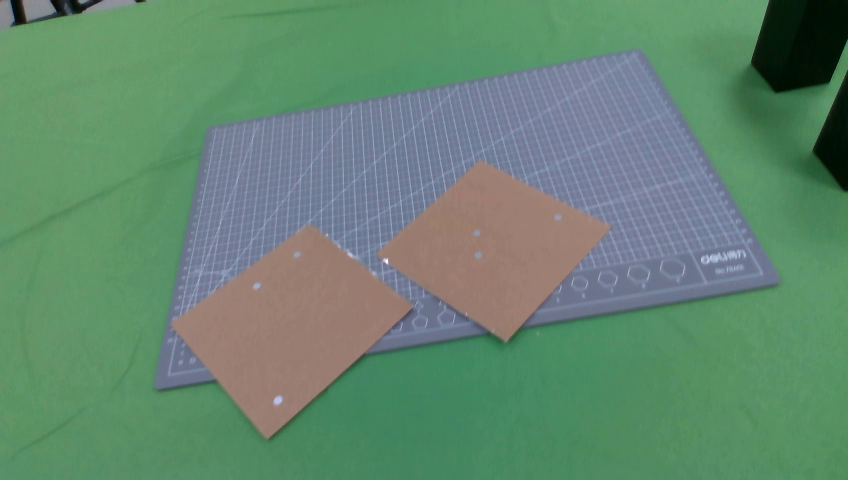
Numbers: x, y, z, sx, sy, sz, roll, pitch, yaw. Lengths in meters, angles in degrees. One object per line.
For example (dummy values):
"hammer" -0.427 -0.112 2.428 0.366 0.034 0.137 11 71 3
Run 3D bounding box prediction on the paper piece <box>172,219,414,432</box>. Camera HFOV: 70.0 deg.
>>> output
"paper piece" -0.101 0.053 0.458 0.138 0.009 0.134 -40 52 -20

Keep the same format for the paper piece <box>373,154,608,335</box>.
"paper piece" 0.052 -0.004 0.478 0.134 0.004 0.135 32 62 31
